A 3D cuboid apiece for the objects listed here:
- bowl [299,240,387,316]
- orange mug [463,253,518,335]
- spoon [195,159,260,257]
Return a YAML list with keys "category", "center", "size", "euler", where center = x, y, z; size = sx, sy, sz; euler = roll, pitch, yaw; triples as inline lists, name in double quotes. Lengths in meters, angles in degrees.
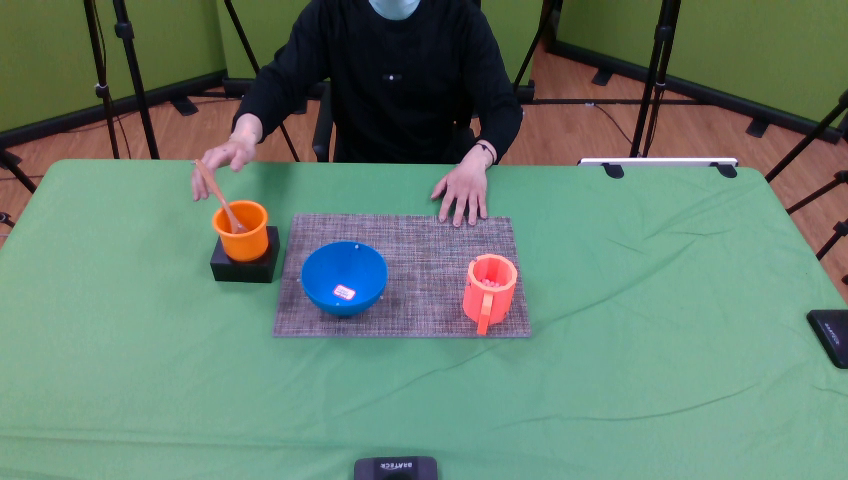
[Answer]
- category: "bowl"
  center: [-0.139, 0.081, 1.064]
  size: [0.151, 0.077, 0.150]
  euler: [2, 46, -1]
- category: "orange mug"
  center: [0.112, 0.098, 1.050]
  size: [0.083, 0.101, 0.125]
  euler: [10, 41, 6]
- category: "spoon"
  center: [-0.348, -0.057, 1.069]
  size: [0.041, 0.194, 0.021]
  euler: [-32, 12, -26]
